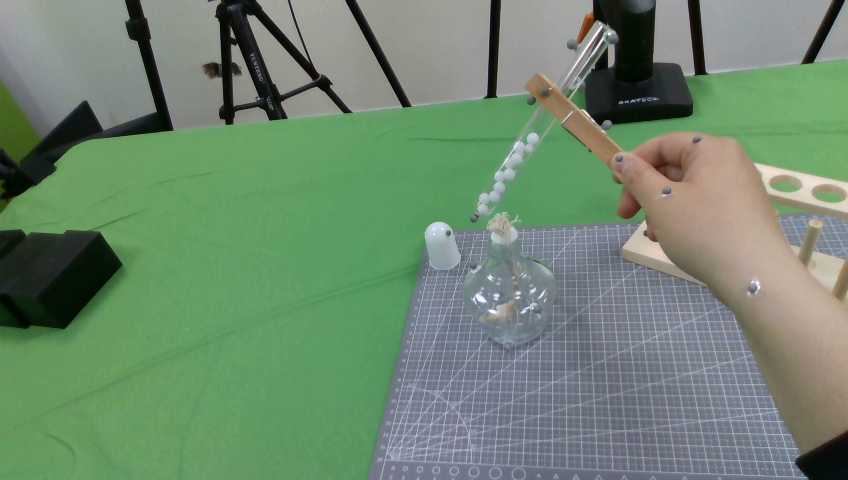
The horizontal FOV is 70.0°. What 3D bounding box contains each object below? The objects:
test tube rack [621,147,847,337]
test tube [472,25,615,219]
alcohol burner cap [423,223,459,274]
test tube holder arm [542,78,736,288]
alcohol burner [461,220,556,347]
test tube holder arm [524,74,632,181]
[{"bbox_3d":[0.282,0.004,0.471,0.240,0.086,0.066,22,51,36],"label":"test tube rack"},{"bbox_3d":[0.077,-0.075,0.411,0.017,0.150,0.017,28,23,-12],"label":"test tube"},{"bbox_3d":[0.015,0.005,0.585,0.034,0.048,0.033,-7,40,6],"label":"alcohol burner cap"},{"bbox_3d":[0.131,-0.041,0.390,0.177,0.015,0.013,50,23,16],"label":"test tube holder arm"},{"bbox_3d":[0.066,0.030,0.483,0.078,0.120,0.077,-7,41,7],"label":"alcohol burner"},{"bbox_3d":[0.100,-0.074,0.395,0.087,0.015,0.010,47,22,8],"label":"test tube holder arm"}]
